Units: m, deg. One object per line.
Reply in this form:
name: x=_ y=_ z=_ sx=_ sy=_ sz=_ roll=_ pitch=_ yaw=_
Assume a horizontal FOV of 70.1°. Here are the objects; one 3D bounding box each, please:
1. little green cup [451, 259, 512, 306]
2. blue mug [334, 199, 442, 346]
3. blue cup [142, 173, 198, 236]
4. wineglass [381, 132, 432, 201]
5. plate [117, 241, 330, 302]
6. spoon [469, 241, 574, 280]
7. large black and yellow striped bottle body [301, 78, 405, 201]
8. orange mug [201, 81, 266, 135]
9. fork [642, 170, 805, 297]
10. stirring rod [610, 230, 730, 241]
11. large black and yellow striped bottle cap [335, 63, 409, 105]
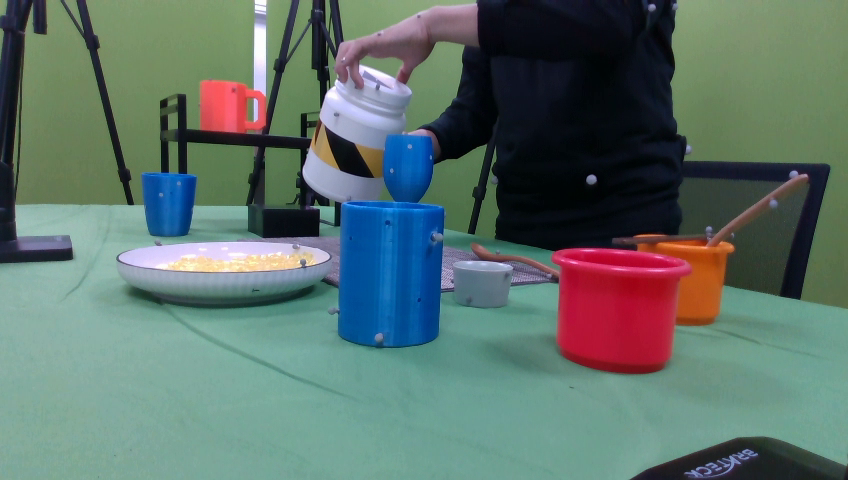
little green cup: x=0.057 y=0.043 z=0.611 sx=0.061 sy=0.038 sz=0.061 roll=3 pitch=8 yaw=0
blue mug: x=-0.034 y=0.020 z=0.498 sx=0.083 sy=0.106 sz=0.116 roll=0 pitch=7 yaw=-20
blue cup: x=-0.425 y=-0.060 z=1.014 sx=0.093 sy=0.100 sz=0.092 roll=4 pitch=9 yaw=0
wineglass: x=-0.026 y=-0.061 z=0.841 sx=0.074 sy=0.172 sz=0.073 roll=2 pitch=7 yaw=0
plate: x=-0.203 y=0.031 z=0.630 sx=0.209 sy=0.038 sz=0.209 roll=3 pitch=7 yaw=0
spoon: x=0.124 y=0.025 z=0.800 sx=0.042 sy=0.021 sz=0.192 roll=23 pitch=-6 yaw=-35
large black and yellow striped bottle body: x=-0.108 y=-0.165 z=0.959 sx=0.131 sy=0.183 sz=0.130 roll=19 pitch=27 yaw=-10
orange mug: x=-0.376 y=-0.260 z=1.198 sx=0.126 sy=0.101 sz=0.083 roll=-3 pitch=8 yaw=-6
fork: x=0.261 y=0.004 z=0.545 sx=0.028 sy=0.018 sz=0.207 roll=5 pitch=-37 yaw=-16
stirring rod: x=0.241 y=-0.005 z=0.582 sx=0.177 sy=0.006 sz=0.014 roll=-3 pitch=10 yaw=-34
large black and yellow striped bottle cap: x=-0.078 y=-0.238 z=0.919 sx=0.115 sy=0.019 sz=0.115 roll=21 pitch=24 yaw=-10
